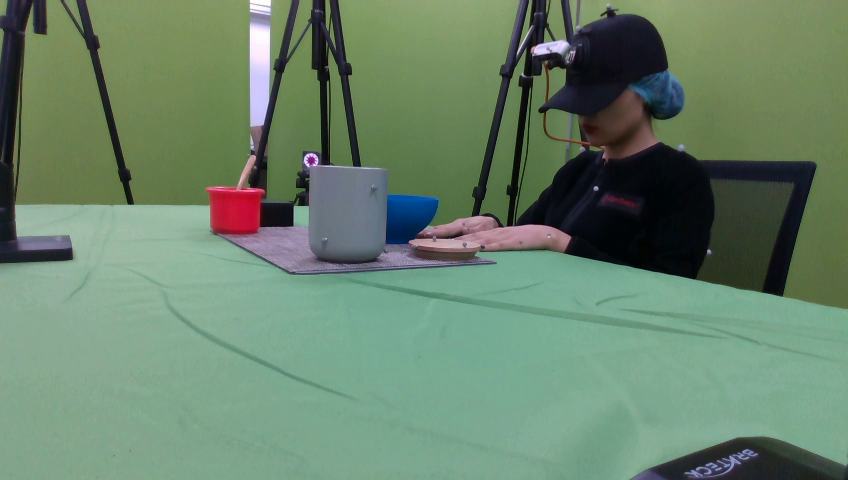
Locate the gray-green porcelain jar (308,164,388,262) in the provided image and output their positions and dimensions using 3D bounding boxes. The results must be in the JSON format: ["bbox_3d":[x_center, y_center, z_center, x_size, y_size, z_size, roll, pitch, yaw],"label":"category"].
[{"bbox_3d":[-0.103,-0.038,0.818,0.106,0.126,0.106,2,7,0],"label":"gray-green porcelain jar"}]

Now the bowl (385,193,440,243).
[{"bbox_3d":[-0.050,-0.038,1.033,0.151,0.077,0.151,3,7,0],"label":"bowl"}]

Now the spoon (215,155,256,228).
[{"bbox_3d":[-0.332,-0.091,1.092,0.041,0.021,0.193,3,52,5],"label":"spoon"}]

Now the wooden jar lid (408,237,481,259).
[{"bbox_3d":[0.031,0.012,0.895,0.108,0.020,0.108,2,8,0],"label":"wooden jar lid"}]
